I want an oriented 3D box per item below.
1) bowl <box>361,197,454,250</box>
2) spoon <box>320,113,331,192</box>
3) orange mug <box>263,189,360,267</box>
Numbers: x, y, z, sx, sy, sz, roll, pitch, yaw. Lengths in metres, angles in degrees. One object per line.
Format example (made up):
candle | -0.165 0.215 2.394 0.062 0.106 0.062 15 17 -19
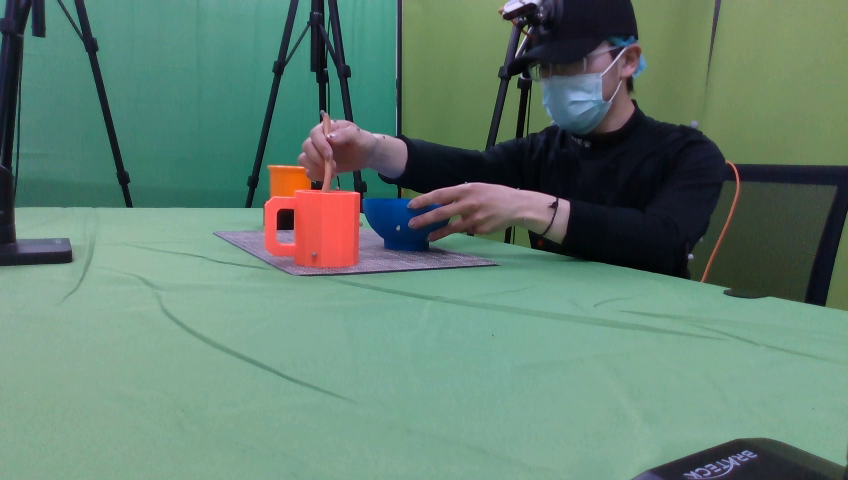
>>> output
bowl | -0.028 -0.028 0.984 0.151 0.077 0.151 2 7 0
spoon | -0.135 -0.088 0.822 0.021 0.193 0.042 -6 -21 16
orange mug | -0.147 -0.019 0.794 0.127 0.100 0.083 5 6 -20
